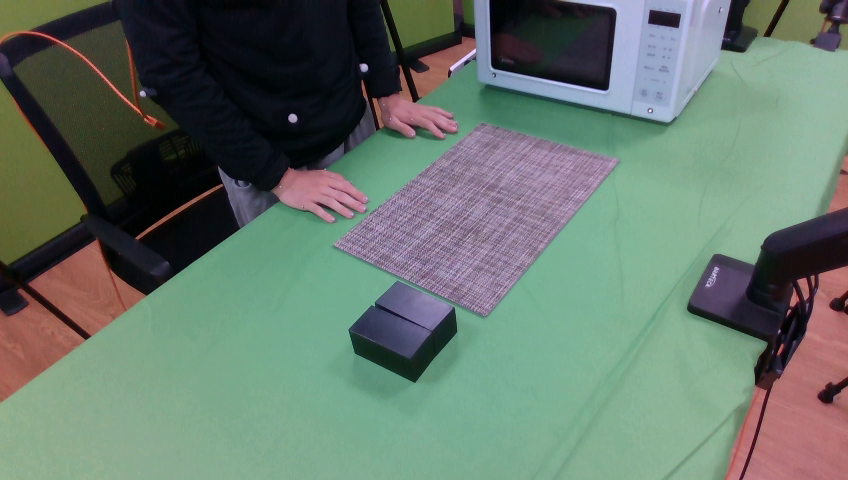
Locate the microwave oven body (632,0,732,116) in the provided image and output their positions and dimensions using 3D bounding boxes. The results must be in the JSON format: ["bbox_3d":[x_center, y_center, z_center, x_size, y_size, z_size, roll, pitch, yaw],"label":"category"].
[{"bbox_3d":[0.377,-0.462,1.267,0.438,0.261,0.327,21,48,30],"label":"microwave oven body"}]

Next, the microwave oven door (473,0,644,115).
[{"bbox_3d":[0.257,-0.396,1.199,0.353,0.245,0.039,21,48,29],"label":"microwave oven door"}]

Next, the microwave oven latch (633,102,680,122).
[{"bbox_3d":[0.444,-0.249,1.157,0.078,0.029,0.030,21,49,30],"label":"microwave oven latch"}]
